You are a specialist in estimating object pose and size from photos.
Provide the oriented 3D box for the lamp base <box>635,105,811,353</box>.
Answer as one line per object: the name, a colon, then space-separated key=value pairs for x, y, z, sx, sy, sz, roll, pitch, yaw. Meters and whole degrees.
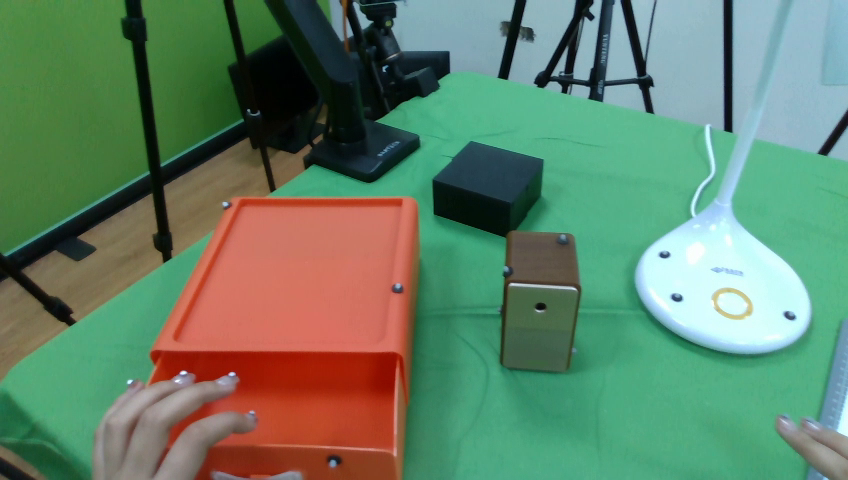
lamp base: x=0.288 y=-0.019 z=0.557 sx=0.160 sy=0.182 sz=0.177 roll=1 pitch=37 yaw=4

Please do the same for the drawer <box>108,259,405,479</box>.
drawer: x=-0.113 y=0.104 z=0.502 sx=0.194 sy=0.074 sz=0.209 roll=-1 pitch=38 yaw=3

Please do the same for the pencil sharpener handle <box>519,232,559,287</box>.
pencil sharpener handle: x=0.104 y=0.012 z=0.565 sx=0.036 sy=0.068 sz=0.030 roll=7 pitch=39 yaw=3

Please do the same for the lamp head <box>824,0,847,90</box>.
lamp head: x=0.280 y=-0.147 z=0.328 sx=0.112 sy=0.123 sz=0.112 roll=-8 pitch=8 yaw=1

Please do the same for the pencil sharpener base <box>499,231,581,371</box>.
pencil sharpener base: x=0.100 y=0.053 z=0.534 sx=0.061 sy=0.108 sz=0.076 roll=3 pitch=39 yaw=7

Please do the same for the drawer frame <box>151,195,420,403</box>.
drawer frame: x=-0.109 y=0.050 z=0.567 sx=0.201 sy=0.083 sz=0.211 roll=-1 pitch=38 yaw=3
